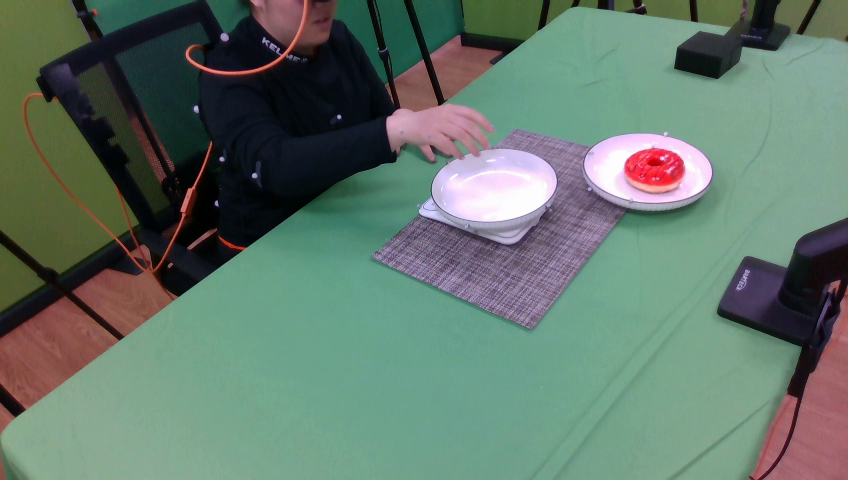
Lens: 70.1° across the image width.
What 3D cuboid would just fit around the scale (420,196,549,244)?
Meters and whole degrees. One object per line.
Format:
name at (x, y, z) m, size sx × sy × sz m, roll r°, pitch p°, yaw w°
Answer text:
scale at (0.106, -0.064, 1.029) m, size 0.199 × 0.032 × 0.149 m, roll 21°, pitch 48°, yaw 32°

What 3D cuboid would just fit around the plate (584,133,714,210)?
plate at (0.379, -0.113, 1.030) m, size 0.209 × 0.038 × 0.208 m, roll -4°, pitch 41°, yaw 4°

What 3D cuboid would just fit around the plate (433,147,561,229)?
plate at (0.120, -0.082, 0.996) m, size 0.207 × 0.039 × 0.206 m, roll -6°, pitch 40°, yaw 5°

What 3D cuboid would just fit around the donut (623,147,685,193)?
donut at (0.388, -0.119, 1.019) m, size 0.099 × 0.048 × 0.098 m, roll -4°, pitch 42°, yaw 4°
